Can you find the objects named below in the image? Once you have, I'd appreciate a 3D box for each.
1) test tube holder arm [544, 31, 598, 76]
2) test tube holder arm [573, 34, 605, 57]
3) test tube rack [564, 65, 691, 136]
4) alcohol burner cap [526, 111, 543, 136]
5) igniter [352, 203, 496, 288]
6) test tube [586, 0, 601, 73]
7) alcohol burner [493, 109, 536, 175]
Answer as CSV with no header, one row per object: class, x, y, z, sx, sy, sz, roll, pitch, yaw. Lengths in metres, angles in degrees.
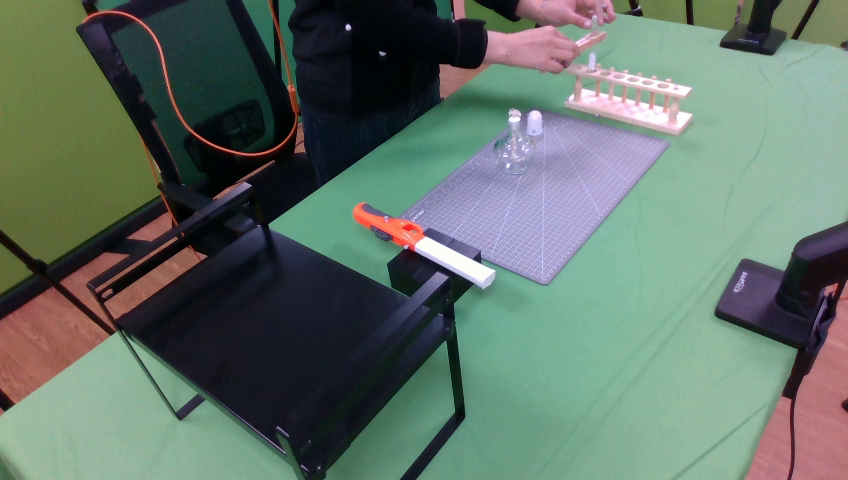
test tube holder arm,0.276,-0.349,1.129,0.013,0.015,0.179,32,55,28
test tube holder arm,0.312,-0.370,1.148,0.088,0.015,0.010,-31,54,-25
test tube rack,0.404,-0.288,1.204,0.240,0.085,0.067,24,49,32
alcohol burner cap,0.219,-0.232,1.196,0.034,0.048,0.033,-4,41,4
igniter,-0.011,0.002,0.899,0.274,0.025,0.057,27,45,33
test tube,0.324,-0.388,1.156,0.017,0.151,0.017,-4,43,4
alcohol burner,0.163,-0.179,1.087,0.078,0.119,0.077,-5,39,5
